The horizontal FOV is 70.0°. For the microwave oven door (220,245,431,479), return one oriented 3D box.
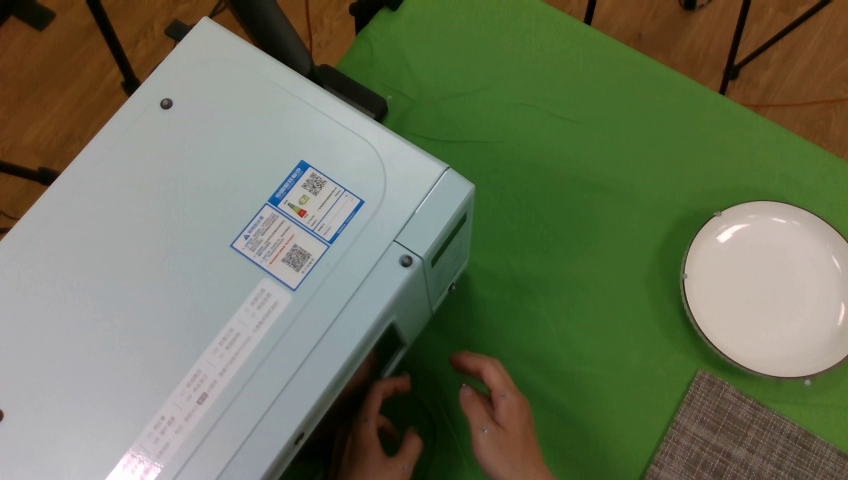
[{"bbox_3d":[-0.111,0.179,0.553,0.039,0.245,0.355,33,77,12],"label":"microwave oven door"}]

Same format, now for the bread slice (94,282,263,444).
[{"bbox_3d":[-0.224,0.106,0.577,0.107,0.018,0.134,44,71,3],"label":"bread slice"}]

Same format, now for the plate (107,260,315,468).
[{"bbox_3d":[-0.215,0.124,0.628,0.209,0.038,0.208,0,76,-1],"label":"plate"}]

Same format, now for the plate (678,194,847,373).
[{"bbox_3d":[0.395,0.049,0.697,0.207,0.039,0.206,-1,73,2],"label":"plate"}]

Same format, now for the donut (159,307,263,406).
[{"bbox_3d":[-0.210,0.115,0.601,0.099,0.048,0.098,3,72,-10],"label":"donut"}]

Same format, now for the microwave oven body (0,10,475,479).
[{"bbox_3d":[-0.206,0.070,0.594,0.325,0.261,0.441,33,78,11],"label":"microwave oven body"}]

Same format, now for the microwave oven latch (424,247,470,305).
[{"bbox_3d":[0.021,0.035,0.696,0.030,0.029,0.079,37,79,12],"label":"microwave oven latch"}]

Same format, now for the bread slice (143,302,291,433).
[{"bbox_3d":[-0.223,0.139,0.642,0.131,0.019,0.104,-34,77,-29],"label":"bread slice"}]
